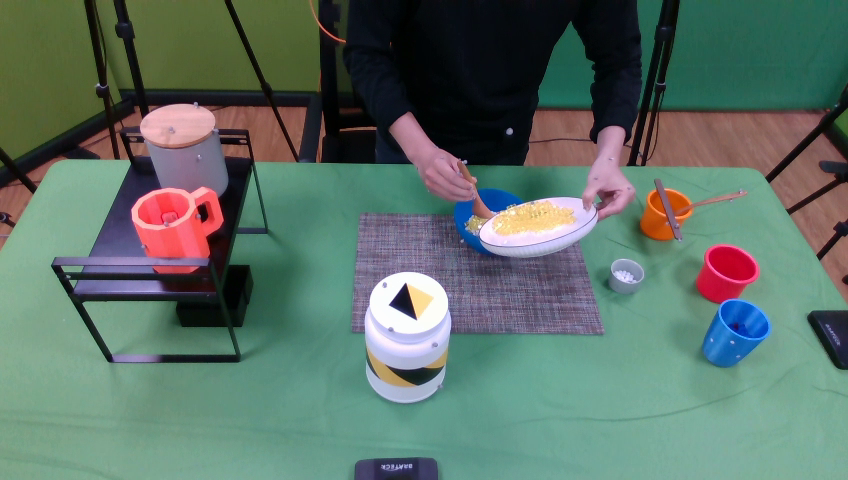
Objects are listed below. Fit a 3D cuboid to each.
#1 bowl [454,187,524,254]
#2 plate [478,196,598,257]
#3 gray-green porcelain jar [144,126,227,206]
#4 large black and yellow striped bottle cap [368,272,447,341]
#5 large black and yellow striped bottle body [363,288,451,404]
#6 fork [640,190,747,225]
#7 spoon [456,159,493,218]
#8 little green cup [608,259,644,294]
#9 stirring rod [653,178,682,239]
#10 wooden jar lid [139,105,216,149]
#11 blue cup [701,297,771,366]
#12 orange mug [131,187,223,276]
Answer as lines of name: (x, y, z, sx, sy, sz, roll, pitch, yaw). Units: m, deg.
bowl: (0.128, -0.026, 1.187, 0.151, 0.077, 0.150, 3, 46, -3)
plate: (0.199, -0.020, 1.055, 0.209, 0.038, 0.208, -15, 20, 6)
gray-green porcelain jar: (-0.375, -0.126, 0.967, 0.106, 0.127, 0.105, 2, 46, -2)
large black and yellow striped bottle cap: (-0.023, 0.093, 0.875, 0.115, 0.019, 0.114, 3, 46, -3)
large black and yellow striped bottle body: (-0.027, 0.153, 0.935, 0.131, 0.185, 0.130, 2, 46, -2)
fork: (0.533, -0.065, 1.211, 0.207, 0.019, 0.028, -22, 28, 38)
spoon: (0.084, -0.087, 1.056, 0.041, 0.195, 0.021, 11, 65, 26)
little green cup: (0.379, 0.070, 1.147, 0.061, 0.039, 0.061, 3, 46, -3)
stirring rod: (0.481, -0.065, 1.203, 0.014, 0.006, 0.175, 2, 46, -1)
wooden jar lid: (-0.372, -0.169, 0.920, 0.108, 0.021, 0.107, 4, 43, -4)
blue cup: (0.519, 0.162, 1.025, 0.093, 0.101, 0.092, 3, 45, -3)
orange mug: (-0.354, -0.022, 0.888, 0.083, 0.101, 0.126, 31, 55, 24)
